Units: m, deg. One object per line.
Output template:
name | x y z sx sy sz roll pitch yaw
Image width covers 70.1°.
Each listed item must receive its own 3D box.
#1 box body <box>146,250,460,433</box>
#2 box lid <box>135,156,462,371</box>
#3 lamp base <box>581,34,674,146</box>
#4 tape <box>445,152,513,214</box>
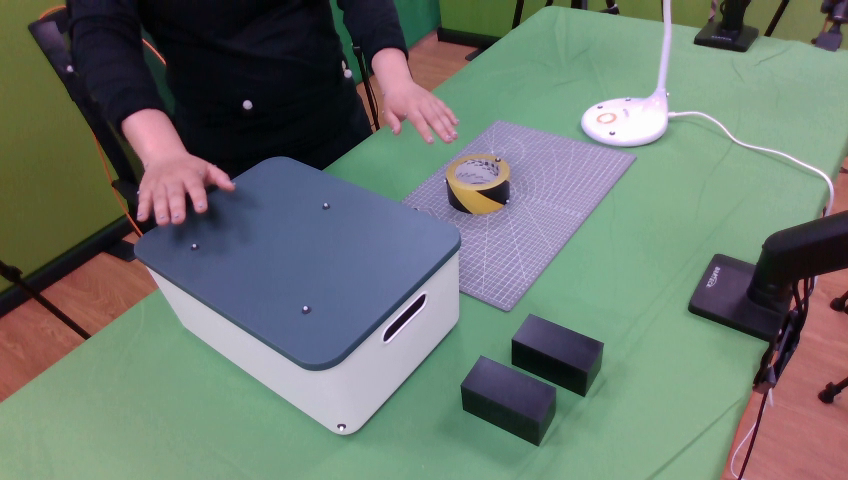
box body | -0.156 0.058 0.814 0.361 0.161 0.255 24 49 31
box lid | -0.162 0.004 0.765 0.368 0.015 0.264 23 49 31
lamp base | 0.392 -0.291 1.129 0.180 0.181 0.159 -11 41 -8
tape | 0.095 -0.099 1.042 0.117 0.053 0.116 -4 41 4
